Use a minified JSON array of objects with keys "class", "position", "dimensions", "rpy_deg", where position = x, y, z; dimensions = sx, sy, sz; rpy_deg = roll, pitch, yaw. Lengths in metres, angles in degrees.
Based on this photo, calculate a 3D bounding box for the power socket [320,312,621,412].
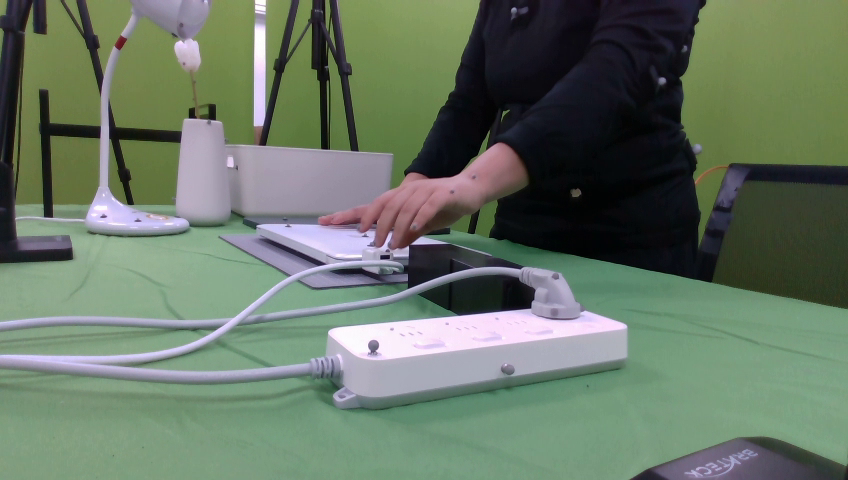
[{"class":"power socket","position":[0.038,0.075,0.410],"dimensions":[0.228,0.032,0.072],"rpy_deg":[-2,8,-29]}]

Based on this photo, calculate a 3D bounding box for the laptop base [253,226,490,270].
[{"class":"laptop base","position":[-0.096,0.011,0.911],"dimensions":[0.237,0.023,0.352],"rpy_deg":[3,6,-32]}]

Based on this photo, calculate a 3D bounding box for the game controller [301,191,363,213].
[{"class":"game controller","position":[-0.240,-0.098,1.550],"dimensions":[0.155,0.051,0.097],"rpy_deg":[3,9,5]}]

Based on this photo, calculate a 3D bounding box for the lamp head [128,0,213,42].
[{"class":"lamp head","position":[-0.423,-0.395,0.980],"dimensions":[0.123,0.112,0.112],"rpy_deg":[20,7,-3]}]

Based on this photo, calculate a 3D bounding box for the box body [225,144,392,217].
[{"class":"box body","position":[-0.289,-0.143,1.475],"dimensions":[0.366,0.160,0.253],"rpy_deg":[-1,9,-29]}]

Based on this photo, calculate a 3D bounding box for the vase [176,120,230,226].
[{"class":"vase","position":[-0.425,-0.128,1.159],"dimensions":[0.098,0.200,0.098],"rpy_deg":[2,9,0]}]

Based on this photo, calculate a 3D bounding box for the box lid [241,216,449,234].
[{"class":"box lid","position":[-0.162,-0.030,1.233],"dimensions":[0.373,0.015,0.262],"rpy_deg":[-1,8,-32]}]

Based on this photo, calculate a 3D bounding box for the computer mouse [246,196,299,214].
[{"class":"computer mouse","position":[-0.355,-0.083,1.418],"dimensions":[0.117,0.041,0.063],"rpy_deg":[0,9,7]}]

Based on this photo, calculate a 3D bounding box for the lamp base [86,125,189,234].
[{"class":"lamp base","position":[-0.497,-0.105,1.027],"dimensions":[0.179,0.180,0.160],"rpy_deg":[1,7,3]}]

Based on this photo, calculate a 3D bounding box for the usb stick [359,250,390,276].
[{"class":"usb stick","position":[-0.061,0.026,0.709],"dimensions":[0.021,0.027,0.059],"rpy_deg":[-4,4,-28]}]

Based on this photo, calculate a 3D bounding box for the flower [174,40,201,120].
[{"class":"flower","position":[-0.430,-0.211,1.165],"dimensions":[0.044,0.361,0.038],"rpy_deg":[-10,-5,-24]}]

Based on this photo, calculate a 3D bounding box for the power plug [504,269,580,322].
[{"class":"power plug","position":[0.091,0.051,0.470],"dimensions":[0.035,0.052,0.072],"rpy_deg":[0,6,-16]}]

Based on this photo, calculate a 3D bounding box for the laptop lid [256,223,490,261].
[{"class":"laptop lid","position":[-0.093,0.000,0.911],"dimensions":[0.243,0.013,0.355],"rpy_deg":[1,7,-30]}]
